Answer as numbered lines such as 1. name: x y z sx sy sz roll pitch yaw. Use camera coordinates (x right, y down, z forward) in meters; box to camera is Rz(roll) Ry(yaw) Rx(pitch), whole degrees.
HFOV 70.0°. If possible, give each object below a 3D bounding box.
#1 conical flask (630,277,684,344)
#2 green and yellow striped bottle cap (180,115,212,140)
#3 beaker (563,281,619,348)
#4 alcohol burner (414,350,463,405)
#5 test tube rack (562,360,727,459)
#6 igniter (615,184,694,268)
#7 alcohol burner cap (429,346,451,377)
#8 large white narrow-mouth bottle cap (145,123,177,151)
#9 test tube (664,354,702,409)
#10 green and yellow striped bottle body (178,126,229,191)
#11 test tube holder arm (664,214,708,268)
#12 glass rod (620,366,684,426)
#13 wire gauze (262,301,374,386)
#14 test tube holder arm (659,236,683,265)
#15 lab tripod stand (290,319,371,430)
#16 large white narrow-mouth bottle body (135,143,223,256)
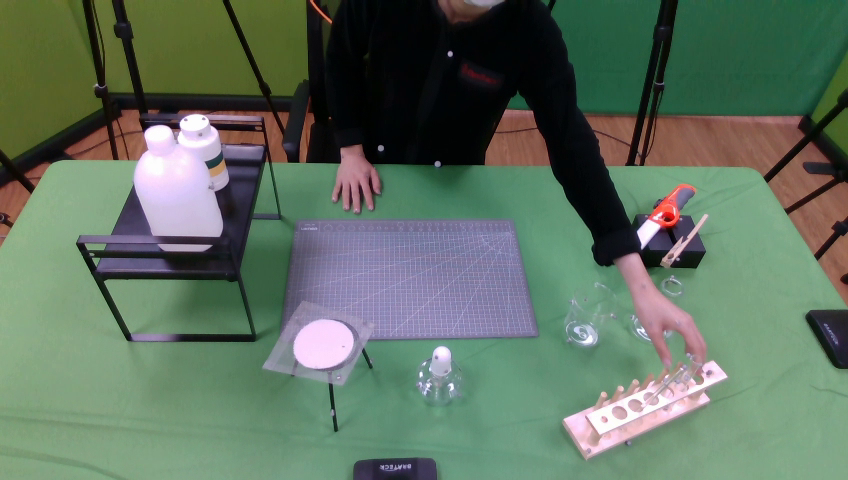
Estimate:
1. conical flask: 0.409 0.117 1.045 0.075 0.122 0.075 2 46 -2
2. green and yellow striped bottle cap: -0.358 -0.177 0.951 0.045 0.020 0.045 1 45 -1
3. beaker: 0.283 0.129 1.041 0.074 0.101 0.083 11 46 7
4. alcohol burner: 0.023 0.205 0.939 0.078 0.120 0.077 1 47 -1
5. test tube rack: 0.341 0.247 0.940 0.243 0.085 0.066 -16 49 -18
6. igniter: 0.459 -0.035 1.196 0.057 0.025 0.276 32 55 27
7. alcohol burner cap: 0.026 0.180 0.912 0.034 0.048 0.033 1 47 -1
8. large white narrow-mouth bottle cap: -0.354 -0.138 0.815 0.038 0.024 0.037 2 44 -1
9. test tube: 0.384 0.215 0.907 0.017 0.151 0.017 -1 49 1
10. green and yellow striped bottle body: -0.361 -0.142 0.989 0.063 0.120 0.063 2 46 -2
11. test tube holder arm: 0.507 -0.001 1.170 0.013 0.015 0.178 35 54 25
12. glass rod: 0.322 0.227 0.866 0.008 0.200 0.008 5 51 -7
13. wire gauze: -0.151 0.148 0.873 0.121 0.011 0.124 14 46 12
14. test tube holder arm: 0.472 0.020 1.149 0.010 0.015 0.088 37 55 27
15. lab tripod stand: -0.146 0.194 0.923 0.148 0.132 0.147 1 47 -1
16. large white narrow-mouth bottle body: -0.358 -0.075 0.874 0.102 0.195 0.101 2 44 -1
